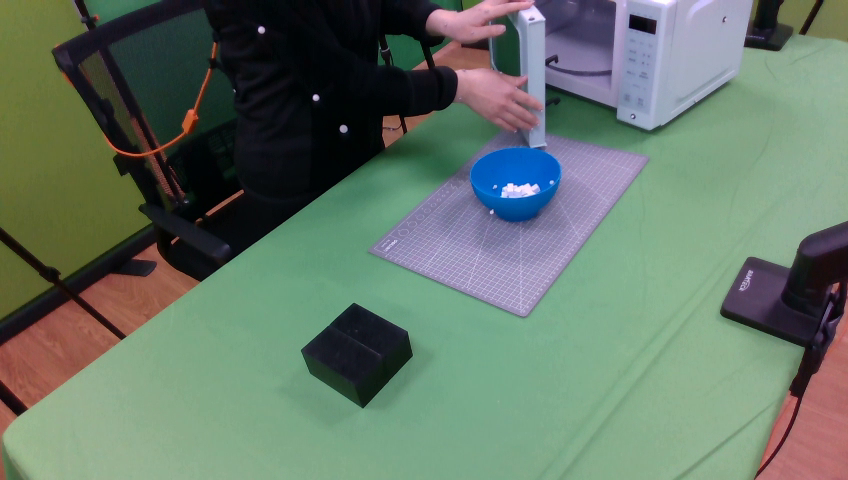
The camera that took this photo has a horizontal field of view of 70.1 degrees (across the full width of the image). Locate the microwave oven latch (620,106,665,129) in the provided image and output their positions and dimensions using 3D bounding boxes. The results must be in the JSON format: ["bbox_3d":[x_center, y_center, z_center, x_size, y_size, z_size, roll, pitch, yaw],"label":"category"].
[{"bbox_3d":[0.413,-0.237,1.146,0.030,0.029,0.078,-32,44,-23],"label":"microwave oven latch"}]

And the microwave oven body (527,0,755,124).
[{"bbox_3d":[0.402,-0.458,1.259,0.327,0.261,0.437,-33,45,-24],"label":"microwave oven body"}]

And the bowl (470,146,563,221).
[{"bbox_3d":[0.155,-0.084,1.008,0.151,0.077,0.150,-6,39,5],"label":"bowl"}]

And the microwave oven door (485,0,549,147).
[{"bbox_3d":[0.179,-0.377,1.200,0.039,0.245,0.353,-11,40,-2],"label":"microwave oven door"}]
